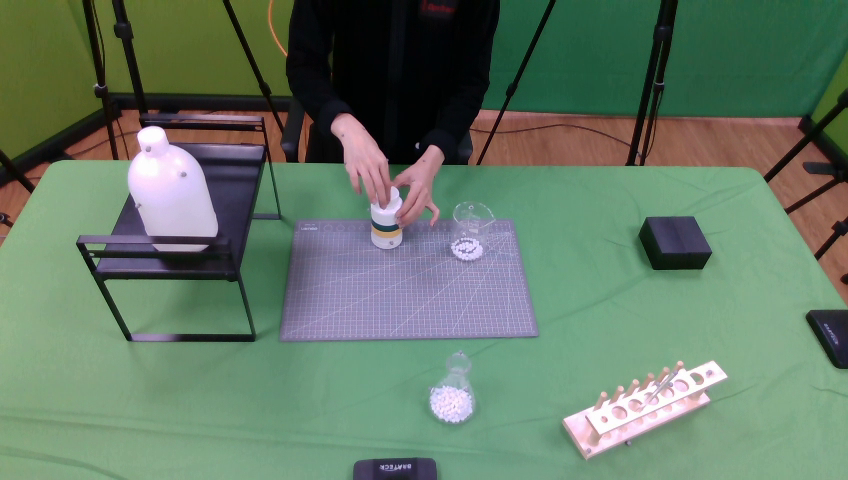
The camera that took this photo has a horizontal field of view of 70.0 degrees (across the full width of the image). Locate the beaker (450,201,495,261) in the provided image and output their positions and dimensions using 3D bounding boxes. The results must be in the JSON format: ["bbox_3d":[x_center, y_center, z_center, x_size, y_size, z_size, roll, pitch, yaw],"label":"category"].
[{"bbox_3d":[0.089,-0.014,1.161,0.084,0.101,0.073,9,47,4],"label":"beaker"}]

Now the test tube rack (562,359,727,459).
[{"bbox_3d":[0.341,0.247,0.940,0.243,0.085,0.066,-16,49,-18],"label":"test tube rack"}]

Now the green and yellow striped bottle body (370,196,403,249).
[{"bbox_3d":[-0.073,-0.045,1.163,0.063,0.120,0.063,2,46,-2],"label":"green and yellow striped bottle body"}]

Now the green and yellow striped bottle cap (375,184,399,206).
[{"bbox_3d":[-0.068,-0.083,1.124,0.045,0.020,0.045,1,45,-1],"label":"green and yellow striped bottle cap"}]

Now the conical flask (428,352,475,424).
[{"bbox_3d":[0.046,0.220,0.920,0.075,0.122,0.075,2,46,-2],"label":"conical flask"}]

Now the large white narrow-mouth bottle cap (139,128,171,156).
[{"bbox_3d":[-0.358,-0.131,0.808,0.038,0.024,0.037,3,47,-3],"label":"large white narrow-mouth bottle cap"}]

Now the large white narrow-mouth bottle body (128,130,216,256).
[{"bbox_3d":[-0.366,-0.073,0.872,0.102,0.195,0.101,3,47,-3],"label":"large white narrow-mouth bottle body"}]

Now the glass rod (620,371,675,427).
[{"bbox_3d":[0.316,0.230,0.863,0.008,0.200,0.008,3,54,-3],"label":"glass rod"}]
